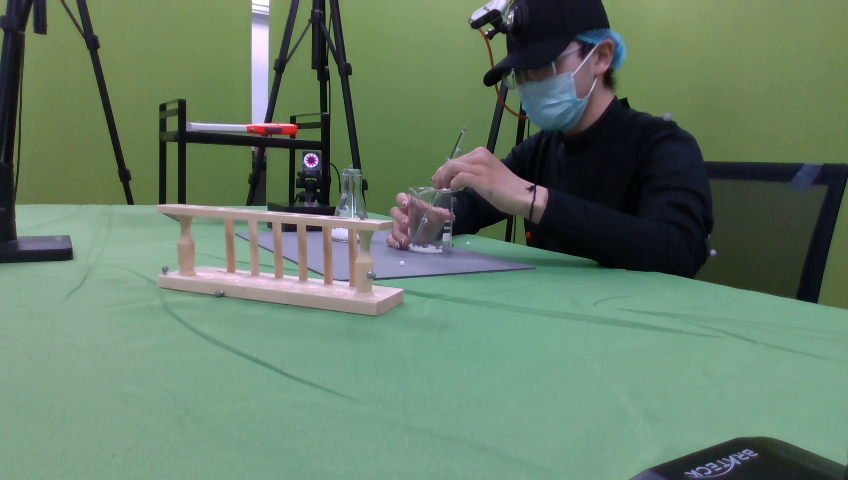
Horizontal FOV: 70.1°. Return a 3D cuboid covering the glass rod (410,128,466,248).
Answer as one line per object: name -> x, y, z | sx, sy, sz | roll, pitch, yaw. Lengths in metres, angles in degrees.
glass rod -> 0.021, -0.076, 0.915 | 0.008, 0.199, 0.008 | 23, 10, -4

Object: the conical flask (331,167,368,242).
conical flask -> -0.123, -0.061, 1.019 | 0.075, 0.122, 0.075 | 2, 7, 0

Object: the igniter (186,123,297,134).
igniter -> -0.392, -0.247, 1.341 | 0.057, 0.025, 0.278 | 9, 14, 38

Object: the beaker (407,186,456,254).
beaker -> 0.009, -0.032, 0.926 | 0.073, 0.100, 0.084 | 6, 9, 27

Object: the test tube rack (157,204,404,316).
test tube rack -> -0.143, 0.013, 0.599 | 0.242, 0.085, 0.067 | 5, 8, 19
